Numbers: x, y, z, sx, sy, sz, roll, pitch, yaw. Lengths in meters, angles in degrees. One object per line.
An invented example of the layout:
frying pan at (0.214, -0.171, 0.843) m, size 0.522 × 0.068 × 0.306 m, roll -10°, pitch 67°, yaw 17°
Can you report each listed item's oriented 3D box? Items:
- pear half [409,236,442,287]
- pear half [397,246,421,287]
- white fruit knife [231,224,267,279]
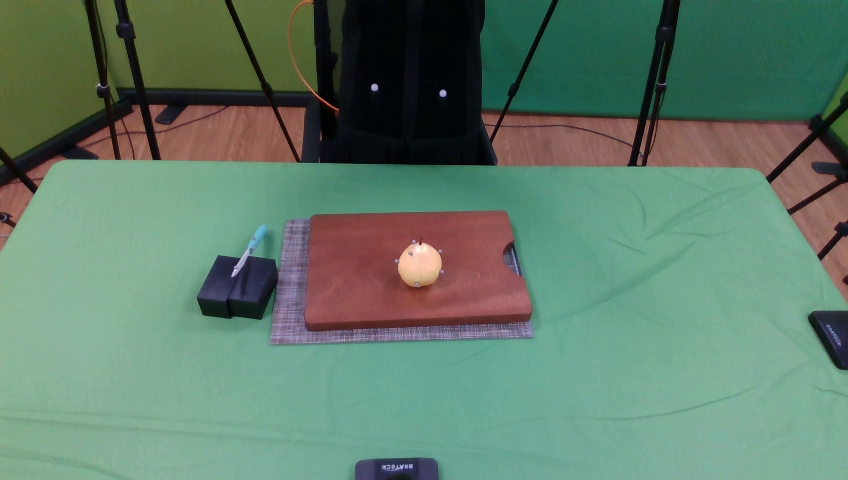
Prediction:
pear half at (0.004, 0.029, 1.070) m, size 0.056 × 0.110 × 0.076 m, roll -18°, pitch 53°, yaw -20°
pear half at (-0.029, 0.046, 1.066) m, size 0.031 × 0.088 × 0.070 m, roll -18°, pitch 55°, yaw -20°
white fruit knife at (-0.318, 0.018, 1.104) m, size 0.016 × 0.027 × 0.206 m, roll 11°, pitch 25°, yaw -4°
